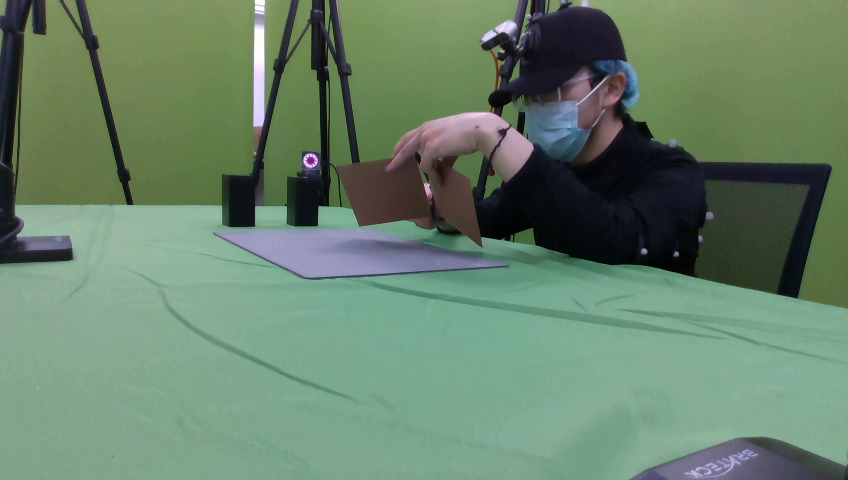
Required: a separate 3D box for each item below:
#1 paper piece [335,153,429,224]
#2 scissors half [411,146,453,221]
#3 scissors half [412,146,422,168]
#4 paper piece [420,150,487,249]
[{"bbox_3d":[-0.064,-0.083,1.012,0.135,0.136,0.004,-8,43,10],"label":"paper piece"},{"bbox_3d":[0.011,-0.092,1.013,0.012,0.176,0.040,16,58,37],"label":"scissors half"},{"bbox_3d":[0.020,-0.108,1.021,0.013,0.040,0.176,10,-20,34],"label":"scissors half"},{"bbox_3d":[0.046,-0.065,0.951,0.009,0.136,0.137,-35,43,-29],"label":"paper piece"}]
